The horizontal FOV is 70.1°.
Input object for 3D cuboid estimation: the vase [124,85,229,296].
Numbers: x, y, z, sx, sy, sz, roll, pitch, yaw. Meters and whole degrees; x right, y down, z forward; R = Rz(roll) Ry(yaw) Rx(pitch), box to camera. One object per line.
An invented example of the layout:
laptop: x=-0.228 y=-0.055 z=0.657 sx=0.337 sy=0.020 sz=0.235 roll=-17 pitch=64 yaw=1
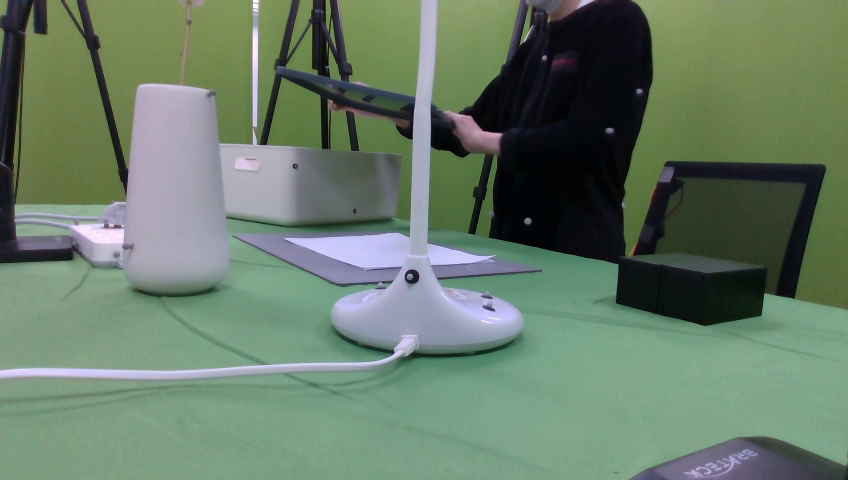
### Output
vase: x=-0.244 y=-0.047 z=0.598 sx=0.098 sy=0.200 sz=0.098 roll=3 pitch=8 yaw=0

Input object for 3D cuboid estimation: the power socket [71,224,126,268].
power socket: x=-0.409 y=0.004 z=0.793 sx=0.072 sy=0.032 sz=0.225 roll=-2 pitch=8 yaw=-37

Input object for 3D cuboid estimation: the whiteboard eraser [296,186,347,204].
whiteboard eraser: x=-0.243 y=-0.107 z=1.426 sx=0.112 sy=0.042 sz=0.056 roll=5 pitch=14 yaw=25

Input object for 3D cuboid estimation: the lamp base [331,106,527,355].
lamp base: x=0.006 y=-0.012 z=0.478 sx=0.161 sy=0.180 sz=0.179 roll=2 pitch=10 yaw=2

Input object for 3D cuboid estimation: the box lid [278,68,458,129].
box lid: x=-0.084 y=-0.252 z=1.112 sx=0.263 sy=0.015 sz=0.372 roll=13 pitch=6 yaw=8

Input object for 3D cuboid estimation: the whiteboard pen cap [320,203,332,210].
whiteboard pen cap: x=-0.247 y=-0.083 z=1.531 sx=0.033 sy=0.018 sz=0.018 roll=9 pitch=10 yaw=39

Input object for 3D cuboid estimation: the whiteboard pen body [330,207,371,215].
whiteboard pen body: x=-0.189 y=-0.073 z=1.522 sx=0.140 sy=0.017 sz=0.017 roll=5 pitch=8 yaw=38

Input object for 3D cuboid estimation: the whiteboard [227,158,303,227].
whiteboard: x=-0.265 y=-0.117 z=1.373 sx=0.216 sy=0.143 sz=0.307 roll=5 pitch=8 yaw=36

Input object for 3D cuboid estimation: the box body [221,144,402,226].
box body: x=-0.254 y=-0.128 z=1.379 sx=0.253 sy=0.160 sz=0.366 roll=8 pitch=9 yaw=36

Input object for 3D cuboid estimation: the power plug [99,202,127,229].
power plug: x=-0.415 y=-0.026 z=0.848 sx=0.073 sy=0.052 sz=0.035 roll=6 pitch=5 yaw=-28

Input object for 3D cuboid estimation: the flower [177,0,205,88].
flower: x=-0.243 y=-0.131 z=0.609 sx=0.044 sy=0.361 sz=0.038 roll=-5 pitch=-12 yaw=11
